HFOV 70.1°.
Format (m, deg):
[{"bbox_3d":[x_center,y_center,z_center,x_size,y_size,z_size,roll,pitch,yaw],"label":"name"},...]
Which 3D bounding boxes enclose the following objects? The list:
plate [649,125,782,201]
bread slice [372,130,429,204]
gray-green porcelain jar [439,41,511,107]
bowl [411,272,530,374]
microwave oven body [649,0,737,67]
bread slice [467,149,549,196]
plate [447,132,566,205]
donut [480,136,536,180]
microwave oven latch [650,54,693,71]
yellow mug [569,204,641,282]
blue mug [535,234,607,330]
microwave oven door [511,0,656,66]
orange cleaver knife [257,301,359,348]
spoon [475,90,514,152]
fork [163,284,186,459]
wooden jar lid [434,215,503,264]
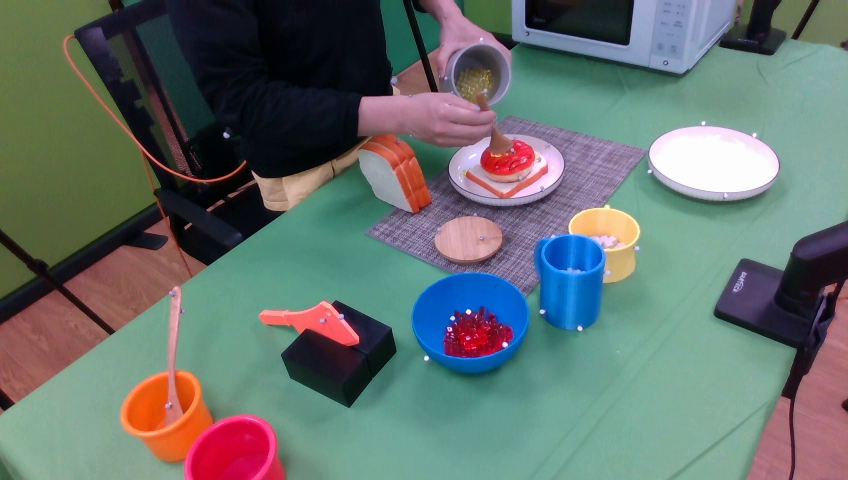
[{"bbox_3d":[0.493,-0.127,1.036,0.207,0.039,0.206,-4,41,4],"label":"plate"},{"bbox_3d":[-0.043,-0.126,1.038,0.106,0.135,0.018,30,61,33],"label":"bread slice"},{"bbox_3d":[0.085,-0.288,1.065,0.106,0.106,0.126,-14,13,-8],"label":"gray-green porcelain jar"},{"bbox_3d":[0.062,0.120,0.780,0.151,0.077,0.150,-4,40,4],"label":"bowl"},{"bbox_3d":[0.475,-0.602,1.411,0.438,0.261,0.327,23,50,32],"label":"microwave oven body"},{"bbox_3d":[0.156,-0.128,1.084,0.132,0.019,0.104,-34,48,-24],"label":"bread slice"},{"bbox_3d":[0.146,-0.124,1.076,0.209,0.038,0.208,-3,41,3],"label":"plate"},{"bbox_3d":[0.145,-0.144,1.056,0.099,0.048,0.098,-6,43,6],"label":"donut"},{"bbox_3d":[0.531,-0.386,1.301,0.078,0.029,0.030,26,51,33],"label":"microwave oven latch"},{"bbox_3d":[0.268,-0.005,0.904,0.099,0.064,0.130,7,41,15],"label":"yellow mug"},{"bbox_3d":[0.190,0.048,0.824,0.082,0.106,0.115,-26,44,-20],"label":"blue mug"},{"bbox_3d":[0.351,-0.539,1.348,0.353,0.245,0.039,24,50,31],"label":"microwave oven door"},{"bbox_3d":[-0.160,0.115,0.813,0.210,0.077,0.012,-9,29,48],"label":"orange cleaver knife"},{"bbox_3d":[0.100,-0.173,0.896,0.041,0.195,0.021,-16,67,14],"label":"spoon"},{"bbox_3d":[-0.302,0.157,0.733,0.028,0.019,0.207,-3,84,14],"label":"fork"},{"bbox_3d":[0.070,0.001,0.956,0.108,0.021,0.108,-4,40,4],"label":"wooden jar lid"}]
